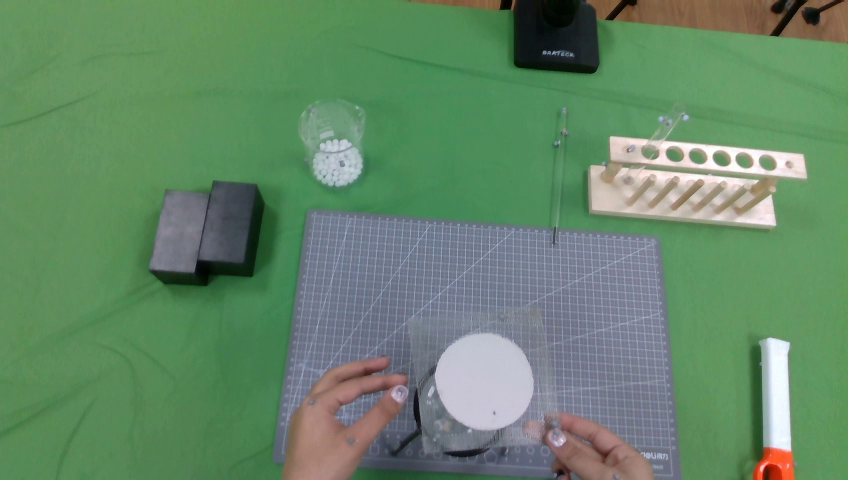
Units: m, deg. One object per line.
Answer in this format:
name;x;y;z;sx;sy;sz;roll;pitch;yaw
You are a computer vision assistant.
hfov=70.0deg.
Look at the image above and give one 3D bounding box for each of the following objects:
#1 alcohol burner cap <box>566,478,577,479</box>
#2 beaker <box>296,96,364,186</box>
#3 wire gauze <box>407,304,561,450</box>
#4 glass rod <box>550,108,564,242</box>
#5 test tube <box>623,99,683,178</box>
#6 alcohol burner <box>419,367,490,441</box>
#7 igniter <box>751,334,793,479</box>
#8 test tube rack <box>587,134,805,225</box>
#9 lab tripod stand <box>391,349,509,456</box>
alcohol burner cap;0.165;0.271;0.646;0.034;0.048;0.033;1;68;-3
beaker;-0.109;-0.118;0.739;0.084;0.101;0.073;-33;75;-16
wire gauze;0.051;0.117;0.534;0.125;0.011;0.120;-4;66;-5
glass rod;0.176;-0.089;0.798;0.008;0.008;0.198;9;70;-1
test tube;0.270;-0.116;0.723;0.017;0.151;0.017;1;66;-3
alcohol burner;0.033;0.168;0.632;0.078;0.120;0.077;2;68;-5
igniter;0.395;0.242;0.682;0.057;0.025;0.275;15;69;-10
test tube rack;0.338;-0.074;0.765;0.242;0.085;0.066;5;69;-3
lab tripod stand;0.029;0.171;0.620;0.148;0.132;0.147;1;68;-2
